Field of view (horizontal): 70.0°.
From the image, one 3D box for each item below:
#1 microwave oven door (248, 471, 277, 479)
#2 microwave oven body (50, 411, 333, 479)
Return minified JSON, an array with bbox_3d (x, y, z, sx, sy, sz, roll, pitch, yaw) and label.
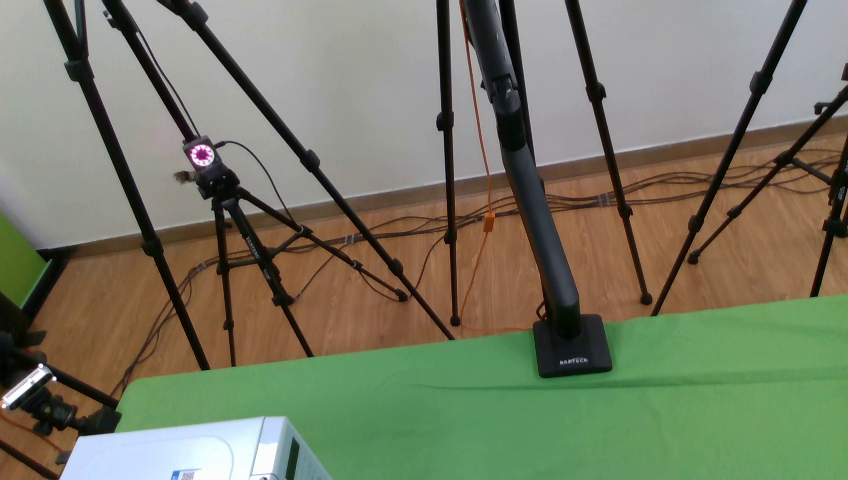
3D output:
[{"bbox_3d":[-0.170,0.475,0.667,0.039,0.246,0.352,-9,44,9],"label":"microwave oven door"},{"bbox_3d":[-0.312,0.472,0.722,0.325,0.263,0.437,-8,44,9],"label":"microwave oven body"}]
